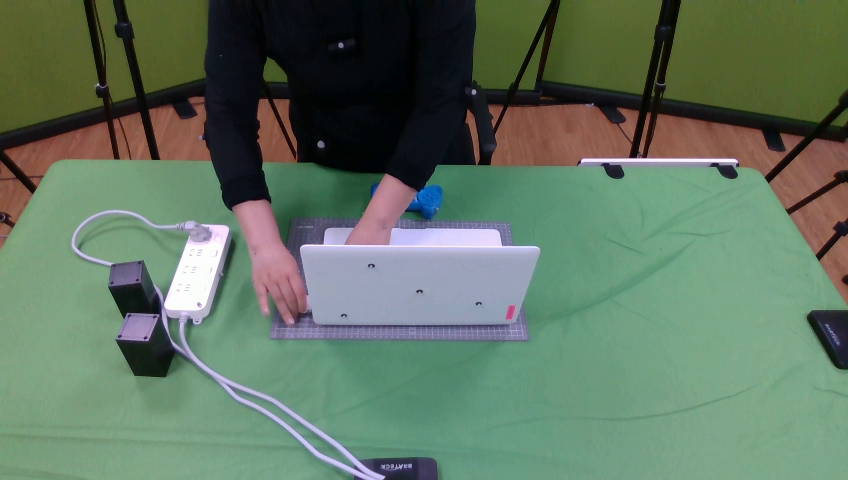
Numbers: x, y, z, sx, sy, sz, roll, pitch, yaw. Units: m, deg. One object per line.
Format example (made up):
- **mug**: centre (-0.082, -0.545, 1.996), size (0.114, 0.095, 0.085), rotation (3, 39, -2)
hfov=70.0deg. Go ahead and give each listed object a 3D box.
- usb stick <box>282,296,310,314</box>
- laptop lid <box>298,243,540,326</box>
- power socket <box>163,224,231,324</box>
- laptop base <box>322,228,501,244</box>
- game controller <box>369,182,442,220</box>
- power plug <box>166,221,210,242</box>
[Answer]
- **usb stick**: centre (-0.217, 0.115, 1.066), size (0.059, 0.027, 0.021), rotation (4, 44, 17)
- **laptop lid**: centre (-0.010, 0.077, 0.958), size (0.357, 0.243, 0.013), rotation (1, 53, -5)
- **power socket**: centre (-0.410, 0.053, 1.106), size (0.072, 0.033, 0.225), rotation (3, 46, -3)
- **laptop base**: centre (-0.020, 0.065, 1.136), size (0.355, 0.023, 0.234), rotation (0, 43, -4)
- **game controller**: centre (-0.039, -0.091, 1.267), size (0.155, 0.052, 0.096), rotation (2, 51, -2)
- **power plug**: centre (-0.440, -0.014, 1.143), size (0.072, 0.053, 0.035), rotation (7, 46, 8)
